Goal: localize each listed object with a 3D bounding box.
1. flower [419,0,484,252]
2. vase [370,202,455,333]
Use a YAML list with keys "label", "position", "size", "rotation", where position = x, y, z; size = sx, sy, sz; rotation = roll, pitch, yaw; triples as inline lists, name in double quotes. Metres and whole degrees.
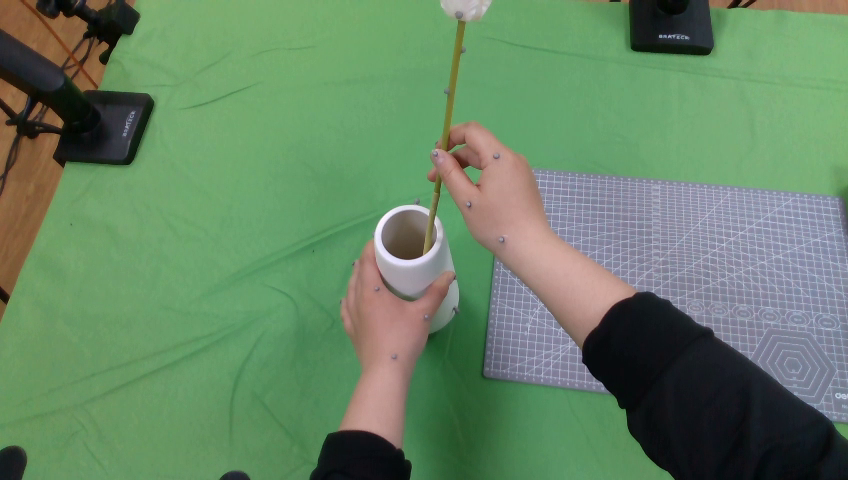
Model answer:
- label: "flower"
  position: [0.010, -0.074, 0.517]
  size: [0.044, 0.364, 0.038]
  rotation: [-19, 51, -24]
- label: "vase"
  position: [-0.012, 0.035, 0.678]
  size: [0.098, 0.201, 0.097]
  rotation: [0, 64, 1]
